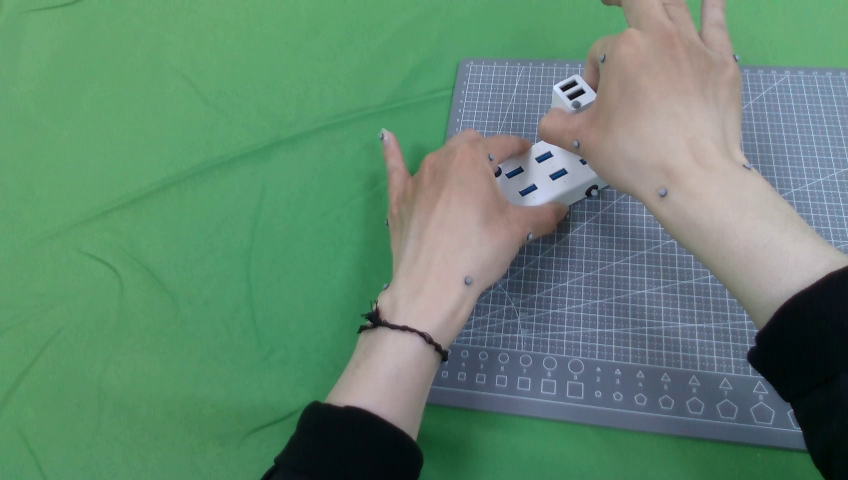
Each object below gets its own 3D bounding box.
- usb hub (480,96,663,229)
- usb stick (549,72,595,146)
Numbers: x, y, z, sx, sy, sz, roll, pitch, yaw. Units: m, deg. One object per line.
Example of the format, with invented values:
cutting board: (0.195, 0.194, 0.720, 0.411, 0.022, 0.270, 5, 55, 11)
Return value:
usb hub: (0.106, -0.058, 0.439, 0.125, 0.025, 0.049, -28, 53, -7)
usb stick: (0.103, -0.086, 0.424, 0.021, 0.060, 0.027, -30, 59, -5)
